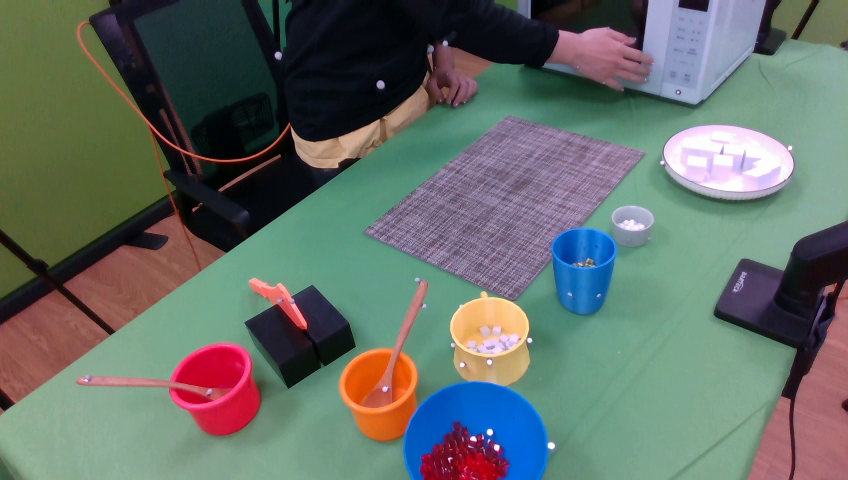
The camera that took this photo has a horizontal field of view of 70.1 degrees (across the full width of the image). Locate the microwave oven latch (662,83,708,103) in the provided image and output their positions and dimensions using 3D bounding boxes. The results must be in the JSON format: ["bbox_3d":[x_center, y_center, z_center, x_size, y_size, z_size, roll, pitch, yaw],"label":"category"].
[{"bbox_3d":[0.518,-0.297,1.204,0.078,0.029,0.030,29,53,36],"label":"microwave oven latch"}]

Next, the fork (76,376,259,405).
[{"bbox_3d":[-0.295,0.176,0.716,0.209,0.018,0.028,19,27,-37],"label":"fork"}]

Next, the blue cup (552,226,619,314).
[{"bbox_3d":[0.218,0.047,0.825,0.092,0.101,0.092,-6,40,5],"label":"blue cup"}]

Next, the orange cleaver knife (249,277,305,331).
[{"bbox_3d":[-0.210,0.088,0.856,0.012,0.077,0.210,-28,15,-25],"label":"orange cleaver knife"}]

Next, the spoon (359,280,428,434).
[{"bbox_3d":[-0.032,0.138,0.719,0.041,0.193,0.022,22,4,30],"label":"spoon"}]

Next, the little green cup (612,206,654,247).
[{"bbox_3d":[0.321,-0.019,0.936,0.061,0.039,0.061,-3,41,3],"label":"little green cup"}]

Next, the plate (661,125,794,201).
[{"bbox_3d":[0.513,-0.128,1.035,0.207,0.039,0.206,-4,40,4],"label":"plate"}]

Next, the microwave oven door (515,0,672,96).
[{"bbox_3d":[0.344,-0.455,1.260,0.353,0.245,0.039,26,51,33],"label":"microwave oven door"}]

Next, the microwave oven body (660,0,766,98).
[{"bbox_3d":[0.472,-0.513,1.317,0.438,0.261,0.327,26,51,34],"label":"microwave oven body"}]

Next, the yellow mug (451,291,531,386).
[{"bbox_3d":[0.086,0.120,0.786,0.100,0.064,0.130,-7,39,1],"label":"yellow mug"}]

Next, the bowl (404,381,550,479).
[{"bbox_3d":[0.058,0.235,0.645,0.151,0.077,0.150,-4,39,4],"label":"bowl"}]
